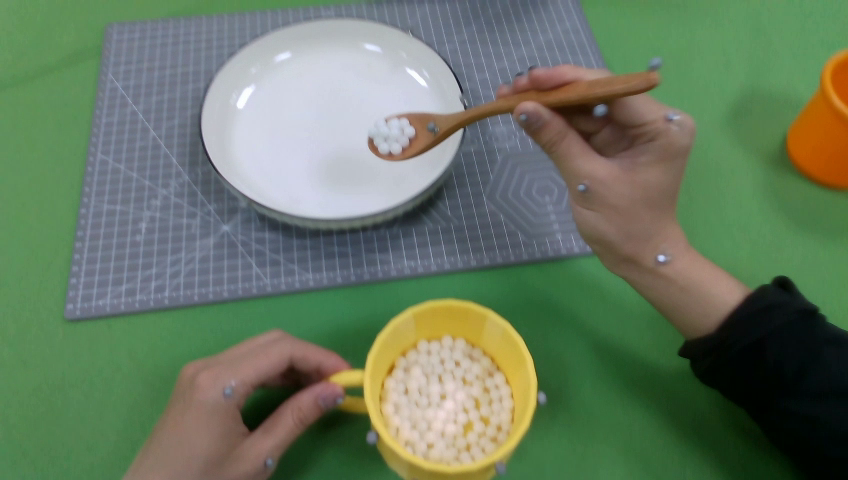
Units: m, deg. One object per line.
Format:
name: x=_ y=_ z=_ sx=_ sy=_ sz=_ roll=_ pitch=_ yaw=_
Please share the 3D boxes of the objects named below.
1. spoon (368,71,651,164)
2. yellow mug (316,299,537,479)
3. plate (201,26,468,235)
spoon: x=0.037 y=-0.074 z=0.359 sx=0.192 sy=0.022 sz=0.041 roll=-5 pitch=58 yaw=44
yellow mug: x=-0.001 y=0.094 z=0.371 sx=0.131 sy=0.064 sz=0.099 roll=1 pitch=59 yaw=-1
plate: x=-0.068 y=-0.089 z=0.489 sx=0.208 sy=0.039 sz=0.205 roll=1 pitch=59 yaw=-1
